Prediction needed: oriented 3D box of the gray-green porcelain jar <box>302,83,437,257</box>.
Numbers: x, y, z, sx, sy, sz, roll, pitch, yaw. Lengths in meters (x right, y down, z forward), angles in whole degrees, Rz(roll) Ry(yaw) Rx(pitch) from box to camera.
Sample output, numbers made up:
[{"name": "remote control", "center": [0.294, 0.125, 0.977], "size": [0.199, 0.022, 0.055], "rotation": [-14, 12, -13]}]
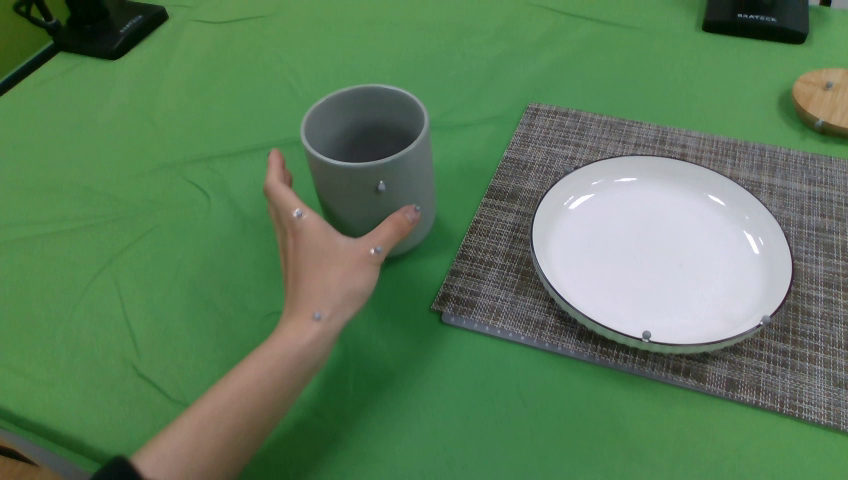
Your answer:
[{"name": "gray-green porcelain jar", "center": [-0.043, -0.055, 0.536], "size": [0.106, 0.128, 0.105], "rotation": [-2, 49, 3]}]

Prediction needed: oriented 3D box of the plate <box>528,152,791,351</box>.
[{"name": "plate", "center": [0.192, 0.008, 0.514], "size": [0.207, 0.039, 0.205], "rotation": [-2, 50, 3]}]

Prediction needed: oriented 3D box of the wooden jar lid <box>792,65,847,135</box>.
[{"name": "wooden jar lid", "center": [0.447, -0.147, 0.640], "size": [0.108, 0.021, 0.107], "rotation": [-2, 51, 3]}]
